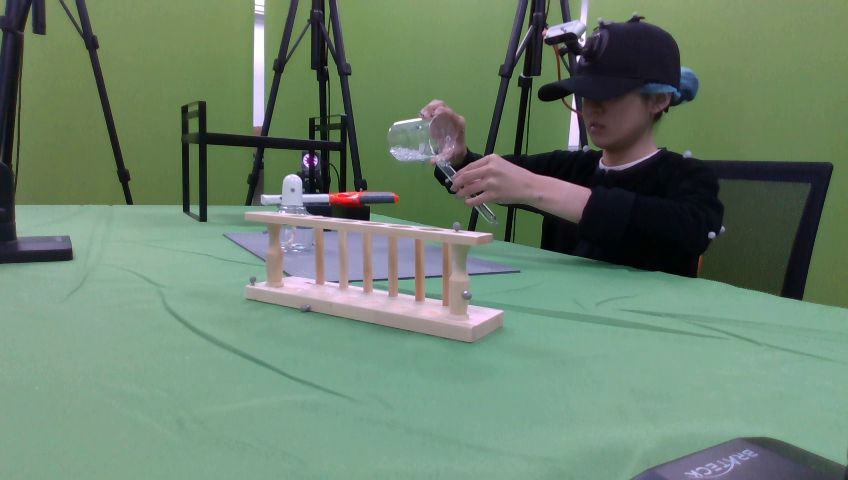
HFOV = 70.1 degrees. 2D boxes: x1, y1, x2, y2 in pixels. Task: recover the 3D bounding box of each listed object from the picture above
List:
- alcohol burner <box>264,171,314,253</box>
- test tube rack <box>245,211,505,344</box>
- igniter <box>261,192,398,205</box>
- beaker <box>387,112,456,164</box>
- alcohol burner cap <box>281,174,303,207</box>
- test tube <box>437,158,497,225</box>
[{"bbox_3d":[-0.194,-0.042,0.888,0.078,0.119,0.078,3,5,0],"label":"alcohol burner"},{"bbox_3d":[-0.049,0.025,0.547,0.241,0.085,0.067,7,8,29],"label":"test tube rack"},{"bbox_3d":[-0.185,-0.083,1.217,0.278,0.025,0.057,-2,12,-25],"label":"igniter"},{"bbox_3d":[-0.007,-0.168,1.025,0.100,0.084,0.074,1,-3,39],"label":"beaker"},{"bbox_3d":[-0.194,-0.072,0.884,0.034,0.048,0.034,0,5,0],"label":"alcohol burner cap"},{"bbox_3d":[0.068,-0.078,0.962,0.017,0.017,0.149,-5,48,-47],"label":"test tube"}]
